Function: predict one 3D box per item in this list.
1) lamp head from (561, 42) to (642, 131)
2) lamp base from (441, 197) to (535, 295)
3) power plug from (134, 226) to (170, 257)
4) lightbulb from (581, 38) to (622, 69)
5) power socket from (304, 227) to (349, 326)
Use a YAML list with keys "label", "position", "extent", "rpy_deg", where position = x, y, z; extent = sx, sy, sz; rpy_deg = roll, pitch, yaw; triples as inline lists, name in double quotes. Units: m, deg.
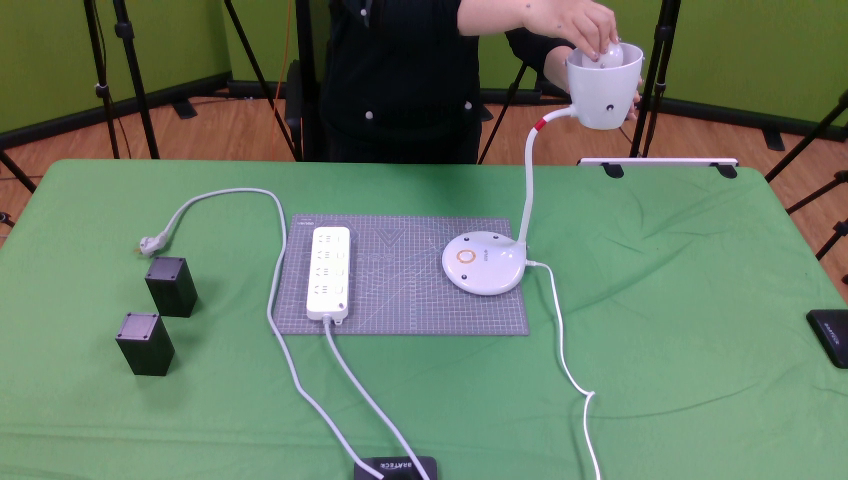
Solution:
- label: "lamp head"
  position: [0.271, -0.230, 0.938]
  extent: [0.112, 0.123, 0.112]
  rpy_deg: [-2, 36, 2]
- label: "lamp base"
  position: [0.129, -0.012, 1.105]
  extent: [0.179, 0.181, 0.159]
  rpy_deg: [-1, 46, -9]
- label: "power plug"
  position: [-0.515, 0.006, 1.153]
  extent: [0.052, 0.035, 0.072]
  rpy_deg: [-6, 24, 6]
- label: "lightbulb"
  position: [0.271, -0.254, 0.928]
  extent: [0.059, 0.108, 0.059]
  rpy_deg: [-7, 30, 4]
- label: "power socket"
  position: [-0.177, 0.059, 1.115]
  extent: [0.072, 0.033, 0.225]
  rpy_deg: [-1, 46, -4]
